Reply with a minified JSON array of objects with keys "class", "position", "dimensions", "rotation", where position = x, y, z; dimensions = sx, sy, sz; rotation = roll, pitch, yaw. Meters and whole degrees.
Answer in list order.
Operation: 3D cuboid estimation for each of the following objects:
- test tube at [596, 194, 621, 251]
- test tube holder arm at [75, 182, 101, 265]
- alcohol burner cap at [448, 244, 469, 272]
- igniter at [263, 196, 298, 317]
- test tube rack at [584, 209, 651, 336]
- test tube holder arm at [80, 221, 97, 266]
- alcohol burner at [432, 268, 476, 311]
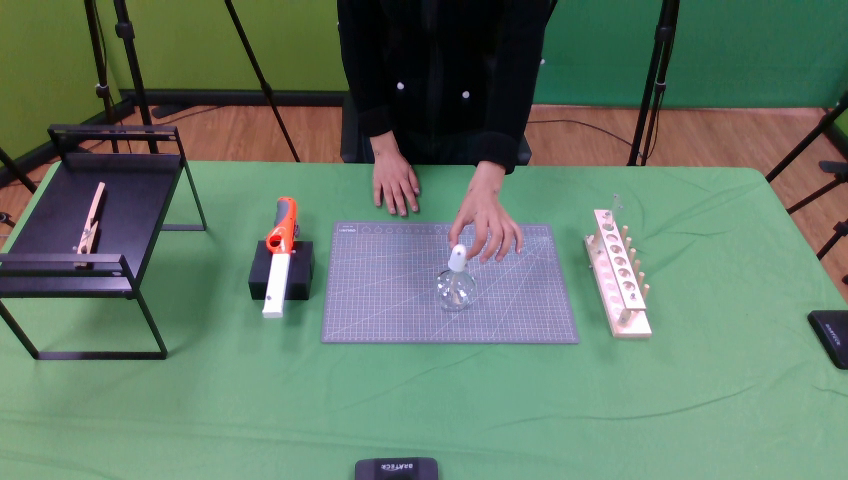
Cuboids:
[{"class":"test tube","position":[0.346,-0.029,1.141],"dimensions":[0.017,0.151,0.017],"rotation":[0,50,1]},{"class":"test tube holder arm","position":[-0.518,-0.030,0.936],"dimensions":[0.013,0.015,0.177],"rotation":[25,33,-38]},{"class":"alcohol burner cap","position":[0.061,0.028,1.026],"dimensions":[0.034,0.048,0.033],"rotation":[4,46,-4]},{"class":"igniter","position":[-0.259,0.020,1.089],"dimensions":[0.057,0.025,0.274],"rotation":[-2,49,-3]},{"class":"test tube rack","position":[0.366,0.055,1.129],"dimensions":[0.067,0.085,0.240],"rotation":[0,46,-3]},{"class":"test tube holder arm","position":[-0.504,0.004,0.910],"dimensions":[0.010,0.015,0.087],"rotation":[26,32,-36]},{"class":"alcohol burner","position":[0.055,0.070,1.068],"dimensions":[0.078,0.119,0.077],"rotation":[3,45,-3]}]
